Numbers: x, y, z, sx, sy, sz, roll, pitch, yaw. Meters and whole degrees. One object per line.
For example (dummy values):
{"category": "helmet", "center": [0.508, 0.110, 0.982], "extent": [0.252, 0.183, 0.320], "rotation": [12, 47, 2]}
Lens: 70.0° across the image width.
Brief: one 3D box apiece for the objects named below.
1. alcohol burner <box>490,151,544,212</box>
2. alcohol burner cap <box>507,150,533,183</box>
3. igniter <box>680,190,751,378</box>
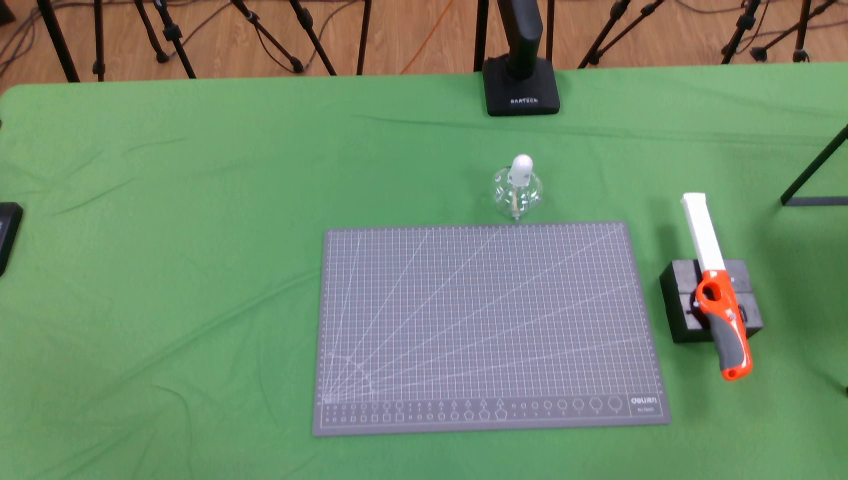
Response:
{"category": "alcohol burner", "center": [0.137, -0.091, 0.873], "extent": [0.078, 0.120, 0.077], "rotation": [1, 62, -2]}
{"category": "alcohol burner cap", "center": [0.136, -0.105, 0.845], "extent": [0.034, 0.048, 0.033], "rotation": [1, 60, -2]}
{"category": "igniter", "center": [0.381, 0.048, 0.798], "extent": [0.057, 0.025, 0.274], "rotation": [1, 58, 0]}
